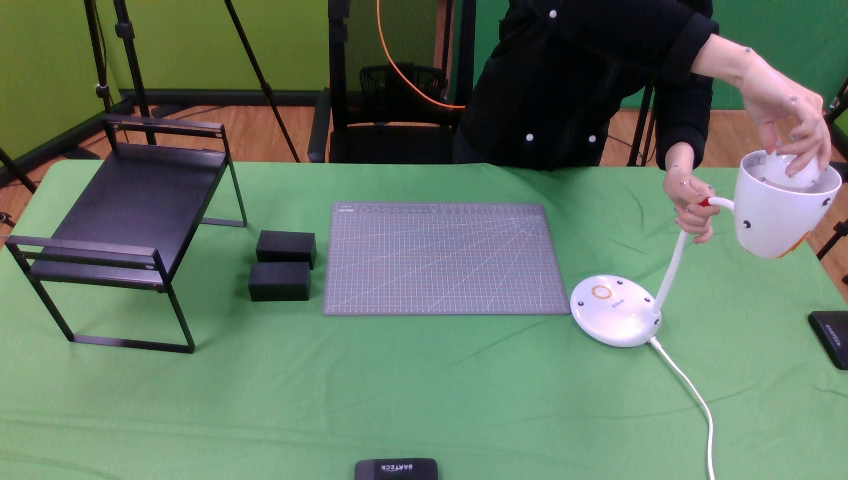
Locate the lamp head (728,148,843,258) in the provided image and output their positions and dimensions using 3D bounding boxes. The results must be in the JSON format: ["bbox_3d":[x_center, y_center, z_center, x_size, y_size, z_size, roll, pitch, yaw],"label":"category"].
[{"bbox_3d":[0.437,-0.041,0.758,0.112,0.123,0.111,1,40,0],"label":"lamp head"}]

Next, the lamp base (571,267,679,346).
[{"bbox_3d":[0.360,0.077,1.037,0.160,0.181,0.178,-34,59,-31],"label":"lamp base"}]

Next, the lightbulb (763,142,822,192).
[{"bbox_3d":[0.440,-0.066,0.738,0.059,0.108,0.059,2,30,-1],"label":"lightbulb"}]
